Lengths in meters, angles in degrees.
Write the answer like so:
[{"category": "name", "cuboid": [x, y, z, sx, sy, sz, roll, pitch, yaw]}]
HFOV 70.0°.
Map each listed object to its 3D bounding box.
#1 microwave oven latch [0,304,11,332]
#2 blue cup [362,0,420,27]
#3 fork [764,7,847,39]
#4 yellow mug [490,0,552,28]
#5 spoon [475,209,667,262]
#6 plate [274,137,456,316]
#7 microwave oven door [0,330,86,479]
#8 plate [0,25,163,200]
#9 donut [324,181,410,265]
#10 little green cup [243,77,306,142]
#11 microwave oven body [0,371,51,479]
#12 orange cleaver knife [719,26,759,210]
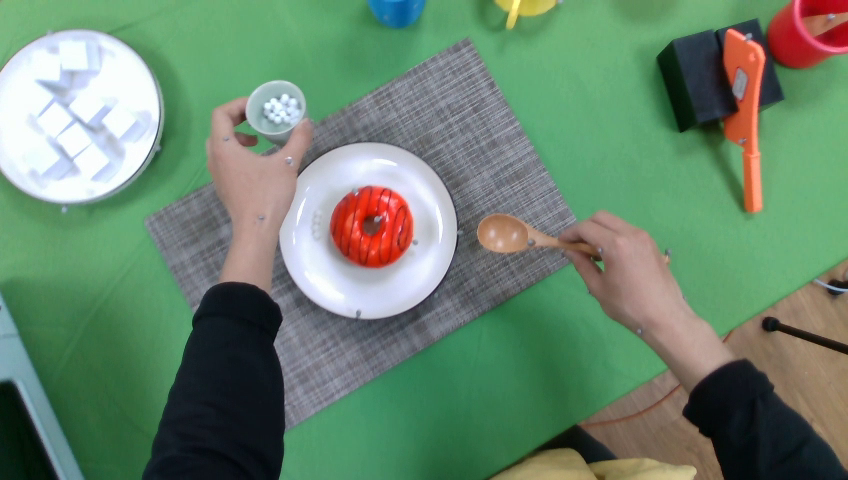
[{"category": "microwave oven latch", "cuboid": [-0.502, 0.070, 0.685, 0.030, 0.029, 0.079, -26, 87, -3]}, {"category": "blue cup", "cuboid": [-0.038, -0.296, 0.700, 0.093, 0.100, 0.092, 0, 87, -2]}, {"category": "fork", "cuboid": [0.499, -0.262, 0.680, 0.206, 0.019, 0.028, -4, 83, 41]}, {"category": "yellow mug", "cuboid": [0.116, -0.316, 0.720, 0.100, 0.064, 0.130, 18, 87, 1]}, {"category": "spoon", "cuboid": [0.148, 0.002, 0.619, 0.193, 0.022, 0.041, 11, 94, 13]}, {"category": "plate", "cuboid": [-0.068, -0.015, 0.709, 0.209, 0.038, 0.208, 0, 87, 0]}, {"category": "microwave oven door", "cuboid": [-0.404, 0.258, 0.572, 0.039, 0.244, 0.355, -27, 86, -3]}, {"category": "plate", "cuboid": [-0.410, -0.148, 0.719, 0.208, 0.039, 0.207, 0, 86, 0]}, {"category": "donut", "cuboid": [-0.065, -0.020, 0.699, 0.099, 0.048, 0.099, 0, 88, 1]}, {"category": "little green cup", "cuboid": [-0.155, -0.135, 0.640, 0.061, 0.039, 0.061, -1, 75, 4]}, {"category": "microwave oven body", "cuboid": [-0.554, 0.286, 0.574, 0.326, 0.260, 0.441, -27, 87, -3]}, {"category": "orange cleaver knife", "cuboid": [0.363, -0.138, 0.702, 0.012, 0.076, 0.213, -15, 116, 1]}]
